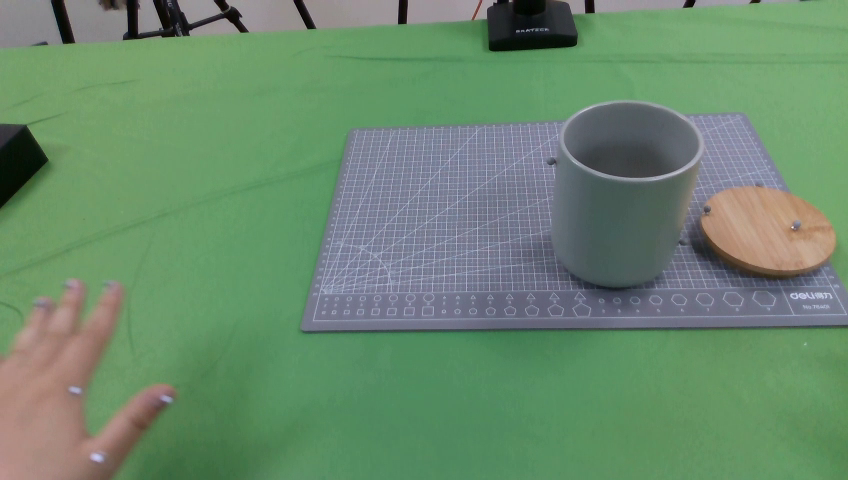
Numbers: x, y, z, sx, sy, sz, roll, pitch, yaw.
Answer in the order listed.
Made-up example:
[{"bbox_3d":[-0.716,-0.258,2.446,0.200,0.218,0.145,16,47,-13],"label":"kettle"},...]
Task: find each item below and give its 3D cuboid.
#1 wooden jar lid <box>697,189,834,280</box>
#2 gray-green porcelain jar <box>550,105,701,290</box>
[{"bbox_3d":[0.297,-0.004,0.534,0.108,0.021,0.107,-4,43,4],"label":"wooden jar lid"},{"bbox_3d":[0.159,-0.030,0.499,0.106,0.128,0.105,-3,44,4],"label":"gray-green porcelain jar"}]
